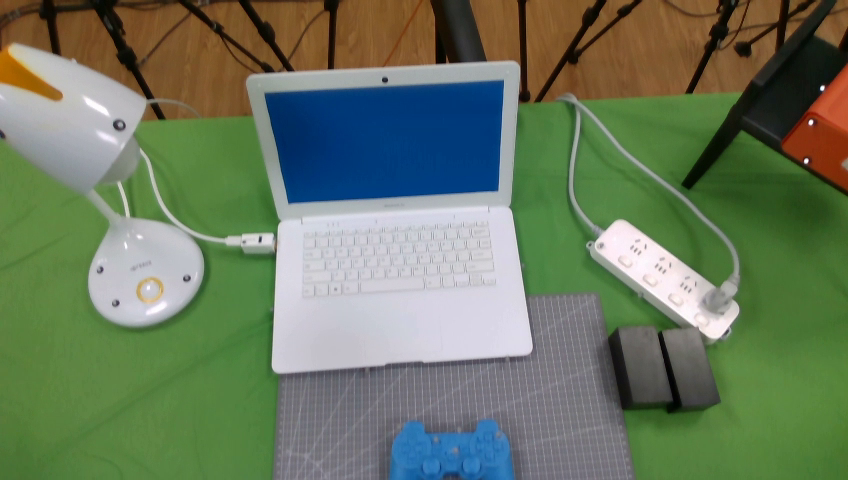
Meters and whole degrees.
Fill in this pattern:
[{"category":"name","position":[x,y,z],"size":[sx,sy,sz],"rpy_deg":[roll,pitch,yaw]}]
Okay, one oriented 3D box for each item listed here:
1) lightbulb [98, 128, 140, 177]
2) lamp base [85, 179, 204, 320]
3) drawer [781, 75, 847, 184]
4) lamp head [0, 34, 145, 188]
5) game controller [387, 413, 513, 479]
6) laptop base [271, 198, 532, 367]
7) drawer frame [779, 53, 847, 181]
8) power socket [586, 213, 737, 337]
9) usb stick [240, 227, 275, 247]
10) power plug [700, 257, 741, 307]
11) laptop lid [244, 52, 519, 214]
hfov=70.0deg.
[{"category":"lightbulb","position":[-0.314,-0.103,0.555],"size":[0.059,0.109,0.059],"rpy_deg":[-24,42,24]},{"category":"lamp base","position":[-0.405,-0.005,0.801],"size":[0.160,0.181,0.177],"rpy_deg":[-32,66,-15]},{"category":"drawer","position":[0.580,-0.146,0.729],"size":[0.193,0.074,0.211],"rpy_deg":[40,70,18]},{"category":"lamp head","position":[-0.336,-0.123,0.544],"size":[0.124,0.112,0.111],"rpy_deg":[33,60,-31]},{"category":"game controller","position":[0.031,0.263,0.746],"size":[0.155,0.052,0.096],"rpy_deg":[0,59,-1]},{"category":"laptop base","position":[-0.037,0.055,0.865],"size":[0.354,0.023,0.233],"rpy_deg":[-4,67,-2]},{"category":"drawer frame","position":[0.582,-0.150,0.730],"size":[0.200,0.083,0.213],"rpy_deg":[39,70,17]},{"category":"power socket","position":[0.337,0.047,0.862],"size":[0.225,0.033,0.072],"rpy_deg":[41,71,18]},{"category":"usb stick","position":[-0.235,-0.004,0.880],"size":[0.059,0.027,0.021],"rpy_deg":[0,58,-4]},{"category":"power plug","position":[0.410,0.064,0.828],"size":[0.072,0.053,0.035],"rpy_deg":[-33,68,-17]},{"category":"laptop lid","position":[-0.049,-0.139,0.841],"size":[0.357,0.244,0.013],"rpy_deg":[-5,40,-1]}]
